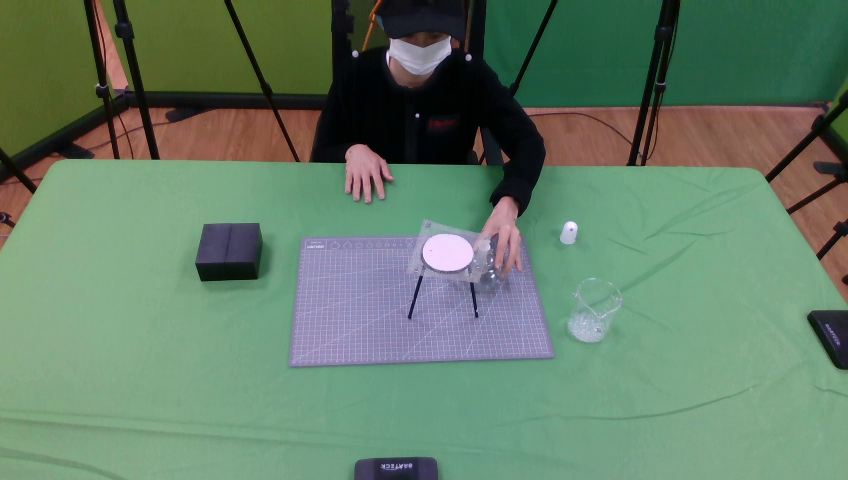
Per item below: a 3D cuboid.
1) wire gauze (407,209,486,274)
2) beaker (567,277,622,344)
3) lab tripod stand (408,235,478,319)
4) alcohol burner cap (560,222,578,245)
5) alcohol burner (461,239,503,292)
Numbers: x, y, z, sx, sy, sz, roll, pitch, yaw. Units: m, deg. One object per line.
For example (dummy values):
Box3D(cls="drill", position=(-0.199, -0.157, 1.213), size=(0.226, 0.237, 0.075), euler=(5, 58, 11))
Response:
Box3D(cls="wire gauze", position=(0.036, 0.003, 1.001), size=(0.125, 0.011, 0.120), euler=(-7, 52, -1))
Box3D(cls="beaker", position=(0.291, 0.127, 1.045), size=(0.074, 0.101, 0.083), euler=(7, 47, 4))
Box3D(cls="lab tripod stand", position=(0.032, 0.065, 1.057), size=(0.148, 0.132, 0.147), euler=(1, 45, -1))
Box3D(cls="alcohol burner cap", position=(0.295, -0.016, 1.224), size=(0.034, 0.048, 0.033), euler=(2, 47, -1))
Box3D(cls="alcohol burner", position=(0.106, 0.040, 1.096), size=(0.078, 0.120, 0.077), euler=(-1, 50, 1))
